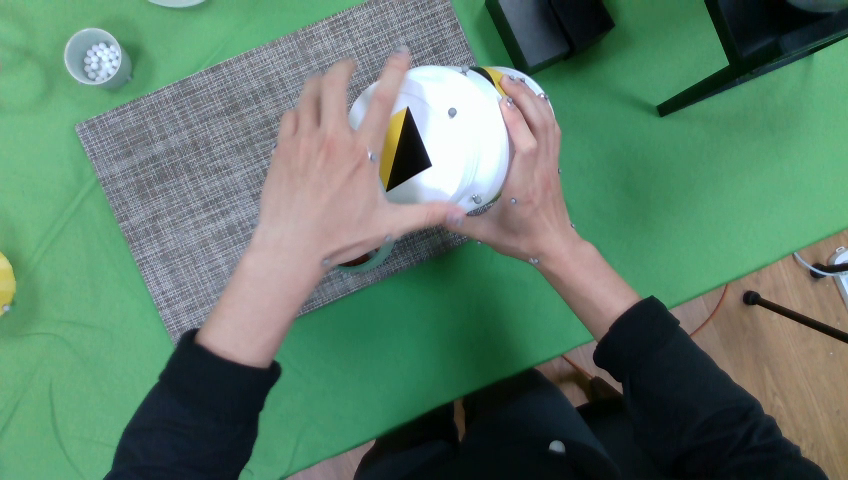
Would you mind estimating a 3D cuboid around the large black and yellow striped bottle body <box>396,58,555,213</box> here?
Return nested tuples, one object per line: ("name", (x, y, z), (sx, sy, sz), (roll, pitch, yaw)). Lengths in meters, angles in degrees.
("large black and yellow striped bottle body", (0.028, -0.097, 0.550), (0.130, 0.184, 0.131), (10, 110, 30))

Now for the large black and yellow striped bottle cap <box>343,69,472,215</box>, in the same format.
("large black and yellow striped bottle cap", (-0.016, -0.077, 0.481), (0.114, 0.019, 0.115), (9, 109, 30))

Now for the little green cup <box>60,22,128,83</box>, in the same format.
("little green cup", (-0.362, -0.205, 0.671), (0.061, 0.038, 0.061), (0, 92, -4))

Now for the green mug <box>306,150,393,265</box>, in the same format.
("green mug", (-0.082, -0.034, 0.653), (0.092, 0.105, 0.125), (-8, 91, -2))

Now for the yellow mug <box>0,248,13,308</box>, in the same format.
("yellow mug", (-0.517, 0.059, 0.655), (0.100, 0.064, 0.131), (9, 91, -4))

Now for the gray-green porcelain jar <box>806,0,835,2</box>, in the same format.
("gray-green porcelain jar", (0.350, -0.261, 0.486), (0.106, 0.126, 0.106), (0, 90, -2))
